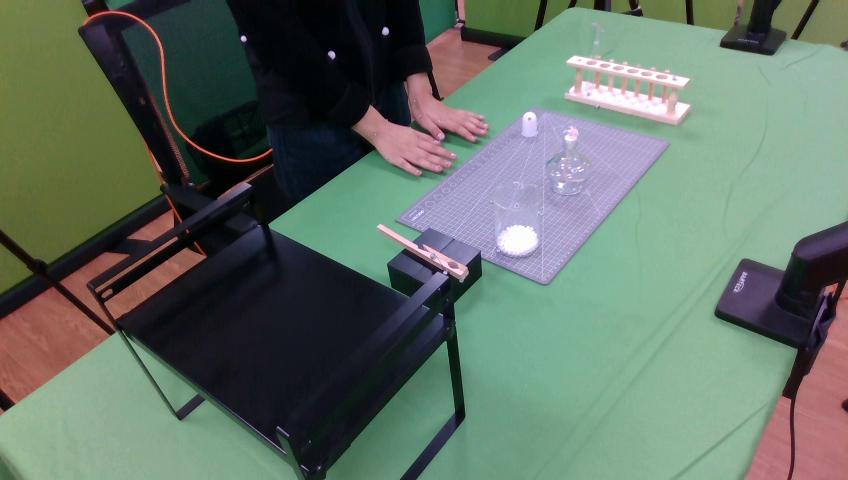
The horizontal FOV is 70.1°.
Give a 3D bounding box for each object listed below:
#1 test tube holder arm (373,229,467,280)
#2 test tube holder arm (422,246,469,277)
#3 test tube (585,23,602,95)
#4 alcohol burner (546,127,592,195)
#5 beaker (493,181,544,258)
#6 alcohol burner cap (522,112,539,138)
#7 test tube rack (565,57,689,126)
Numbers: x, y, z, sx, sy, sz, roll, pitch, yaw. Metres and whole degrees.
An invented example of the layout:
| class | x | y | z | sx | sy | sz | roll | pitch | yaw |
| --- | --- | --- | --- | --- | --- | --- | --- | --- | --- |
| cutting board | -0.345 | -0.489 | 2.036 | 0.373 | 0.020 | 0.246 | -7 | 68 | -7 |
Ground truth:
| class | x | y | z | sx | sy | sz | roll | pitch | yaw |
| --- | --- | --- | --- | --- | --- | --- | --- | --- | --- |
| test tube holder arm | -0.010 | 0.019 | 0.885 | 0.177 | 0.015 | 0.013 | 23 | 48 | 33 |
| test tube holder arm | 0.028 | 0.031 | 0.864 | 0.087 | 0.015 | 0.010 | 25 | 49 | 34 |
| test tube | 0.342 | -0.364 | 1.226 | 0.017 | 0.151 | 0.017 | -2 | 42 | 2 |
| alcohol burner | 0.246 | -0.137 | 1.024 | 0.078 | 0.119 | 0.077 | -4 | 38 | 4 |
| beaker | 0.145 | -0.031 | 0.925 | 0.074 | 0.101 | 0.084 | 6 | 41 | 16 |
| alcohol burner cap | 0.210 | -0.230 | 1.195 | 0.034 | 0.048 | 0.033 | -5 | 42 | 5 |
| test tube rack | 0.411 | -0.311 | 1.230 | 0.240 | 0.085 | 0.067 | 23 | 49 | 32 |
